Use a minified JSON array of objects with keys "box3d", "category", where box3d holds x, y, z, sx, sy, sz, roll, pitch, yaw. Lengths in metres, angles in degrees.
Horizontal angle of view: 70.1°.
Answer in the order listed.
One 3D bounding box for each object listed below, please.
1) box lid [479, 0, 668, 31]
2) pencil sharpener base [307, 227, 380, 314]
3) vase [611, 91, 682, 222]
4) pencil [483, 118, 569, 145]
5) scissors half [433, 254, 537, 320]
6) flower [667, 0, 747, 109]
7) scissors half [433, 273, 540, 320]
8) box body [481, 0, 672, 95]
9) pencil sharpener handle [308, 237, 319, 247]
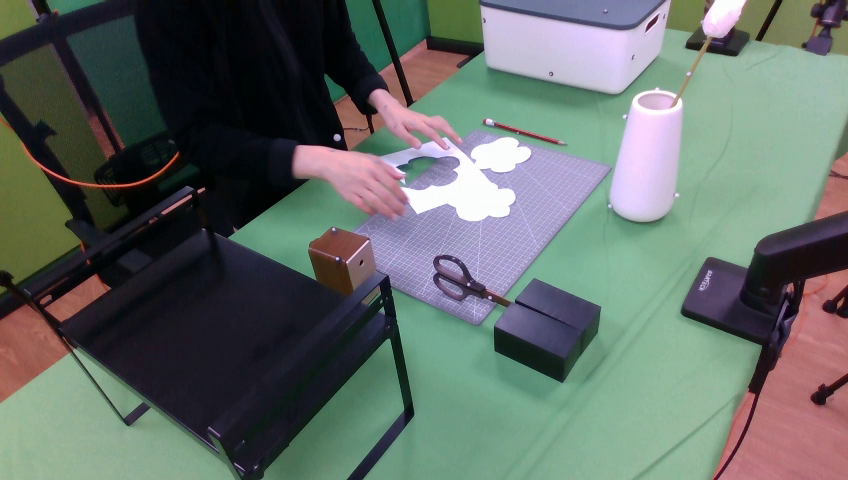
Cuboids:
[{"box3d":[0.335,-0.536,1.331,0.368,0.015,0.264,23,49,30],"category":"box lid"},{"box3d":[-0.116,0.043,0.875,0.076,0.107,0.061,18,47,27],"category":"pencil sharpener base"},{"box3d":[0.348,-0.125,0.935,0.098,0.201,0.097,-3,40,3],"category":"vase"},{"box3d":[0.202,-0.217,1.213,0.192,0.012,0.012,24,49,28],"category":"pencil"},{"box3d":[0.083,0.065,0.827,0.174,0.040,0.013,31,51,23],"category":"scissors half"},{"box3d":[0.354,-0.187,0.879,0.038,0.362,0.044,30,48,14],"category":"flower"},{"box3d":[0.084,0.081,0.839,0.174,0.040,0.013,16,38,36],"category":"scissors half"},{"box3d":[0.341,-0.480,1.381,0.361,0.161,0.255,22,48,30],"category":"box body"},{"box3d":[-0.158,0.017,0.892,0.030,0.068,0.036,18,61,28],"category":"pencil sharpener handle"}]
